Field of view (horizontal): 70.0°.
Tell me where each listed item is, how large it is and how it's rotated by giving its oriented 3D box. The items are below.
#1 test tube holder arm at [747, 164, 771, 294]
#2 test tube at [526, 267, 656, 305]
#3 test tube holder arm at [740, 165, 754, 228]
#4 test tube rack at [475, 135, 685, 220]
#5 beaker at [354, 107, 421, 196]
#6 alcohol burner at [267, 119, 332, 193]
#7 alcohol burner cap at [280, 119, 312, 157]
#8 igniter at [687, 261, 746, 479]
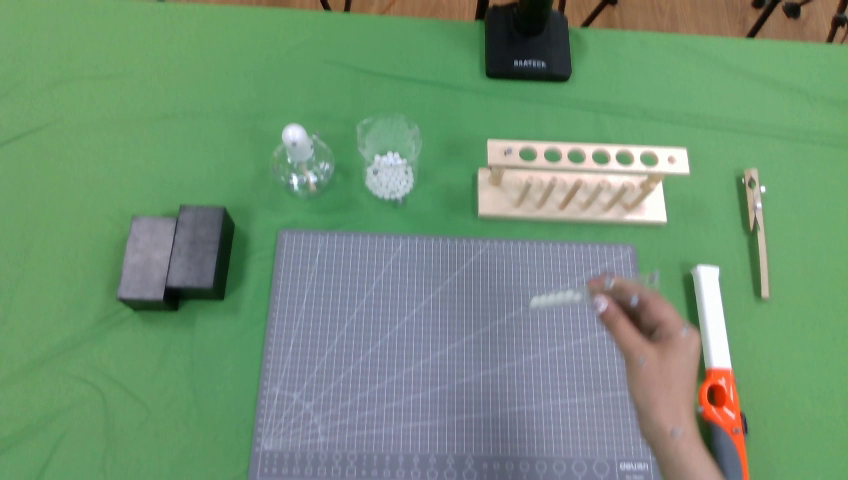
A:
[{"bbox_3d":[0.432,-0.017,0.784,0.013,0.015,0.177,-10,66,29],"label":"test tube holder arm"},{"bbox_3d":[0.144,0.044,0.551,0.017,0.150,0.017,8,74,-31],"label":"test tube"},{"bbox_3d":[0.430,-0.058,0.803,0.010,0.015,0.087,-9,67,30],"label":"test tube holder arm"},{"bbox_3d":[0.190,-0.076,0.755,0.242,0.085,0.066,2,69,-3],"label":"test tube rack"},{"bbox_3d":[-0.047,-0.104,0.740,0.084,0.101,0.074,29,70,8],"label":"beaker"},{"bbox_3d":[-0.151,-0.106,0.725,0.078,0.120,0.077,1,67,-3],"label":"alcohol burner"},{"bbox_3d":[-0.148,-0.119,0.691,0.034,0.048,0.033,0,75,-1],"label":"alcohol burner cap"},{"bbox_3d":[0.341,0.157,0.711,0.057,0.025,0.274,7,69,-12],"label":"igniter"}]
